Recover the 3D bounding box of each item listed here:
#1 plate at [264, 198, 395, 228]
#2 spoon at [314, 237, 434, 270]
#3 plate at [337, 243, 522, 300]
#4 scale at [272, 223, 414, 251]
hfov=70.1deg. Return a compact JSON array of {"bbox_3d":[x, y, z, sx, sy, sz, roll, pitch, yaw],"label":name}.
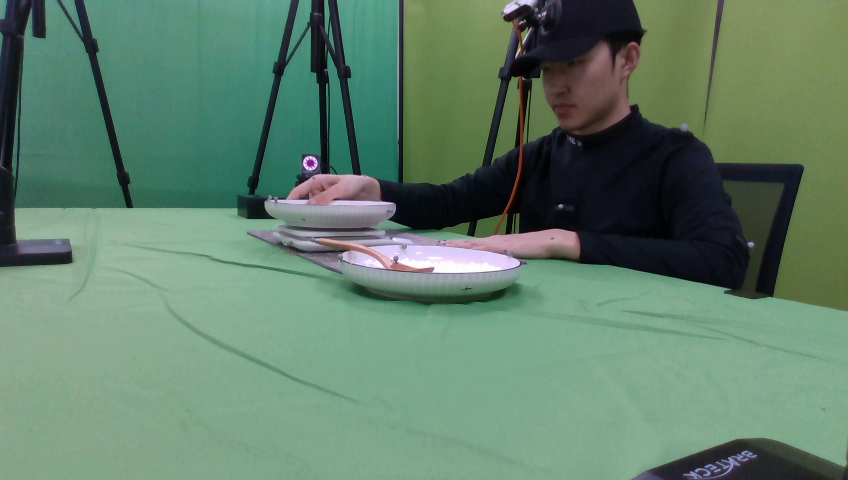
[{"bbox_3d":[-0.150,-0.045,0.972,0.208,0.039,0.207,1,6,0],"label":"plate"},{"bbox_3d":[-0.064,0.015,0.695,0.192,0.021,0.042,18,17,42],"label":"spoon"},{"bbox_3d":[0.007,0.035,0.688,0.209,0.038,0.209,2,6,0],"label":"plate"},{"bbox_3d":[-0.131,-0.008,0.984,0.202,0.031,0.148,-2,8,-32],"label":"scale"}]
